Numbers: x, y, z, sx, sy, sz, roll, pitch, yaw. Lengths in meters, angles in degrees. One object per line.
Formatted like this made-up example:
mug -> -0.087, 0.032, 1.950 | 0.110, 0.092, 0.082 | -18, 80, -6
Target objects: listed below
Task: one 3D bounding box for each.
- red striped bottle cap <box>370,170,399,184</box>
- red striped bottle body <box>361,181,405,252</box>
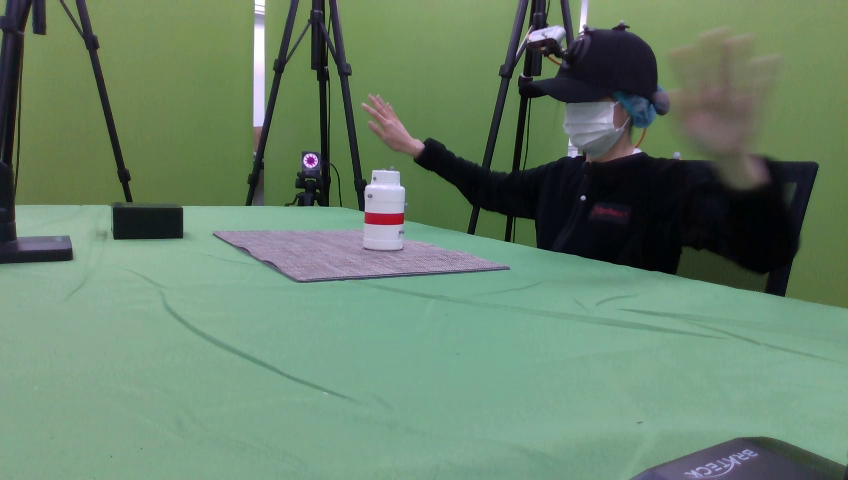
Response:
red striped bottle cap -> -0.059, -0.096, 0.925 | 0.044, 0.017, 0.044 | 6, 6, 0
red striped bottle body -> -0.062, -0.044, 0.933 | 0.063, 0.119, 0.063 | 4, 7, 0
